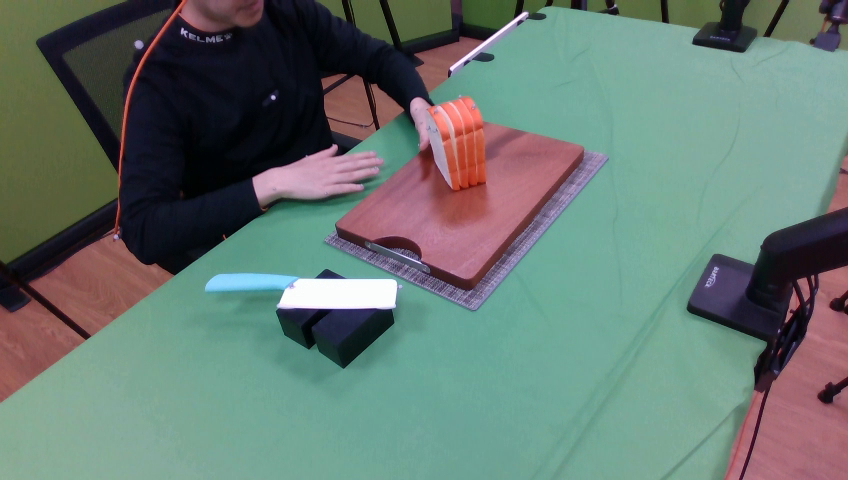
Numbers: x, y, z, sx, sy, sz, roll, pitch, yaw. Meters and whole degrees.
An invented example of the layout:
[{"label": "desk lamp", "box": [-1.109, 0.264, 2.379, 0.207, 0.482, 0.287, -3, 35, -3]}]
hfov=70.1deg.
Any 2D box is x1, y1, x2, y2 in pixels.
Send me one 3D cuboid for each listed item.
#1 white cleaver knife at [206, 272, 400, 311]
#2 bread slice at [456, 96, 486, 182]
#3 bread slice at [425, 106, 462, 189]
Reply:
[{"label": "white cleaver knife", "box": [-0.173, 0.071, 0.846, 0.286, 0.021, 0.065, 0, 40, 11]}, {"label": "bread slice", "box": [0.080, -0.176, 1.034, 0.018, 0.135, 0.106, -15, 44, -10]}, {"label": "bread slice", "box": [0.030, -0.162, 1.027, 0.019, 0.132, 0.104, -21, 40, -6]}]
